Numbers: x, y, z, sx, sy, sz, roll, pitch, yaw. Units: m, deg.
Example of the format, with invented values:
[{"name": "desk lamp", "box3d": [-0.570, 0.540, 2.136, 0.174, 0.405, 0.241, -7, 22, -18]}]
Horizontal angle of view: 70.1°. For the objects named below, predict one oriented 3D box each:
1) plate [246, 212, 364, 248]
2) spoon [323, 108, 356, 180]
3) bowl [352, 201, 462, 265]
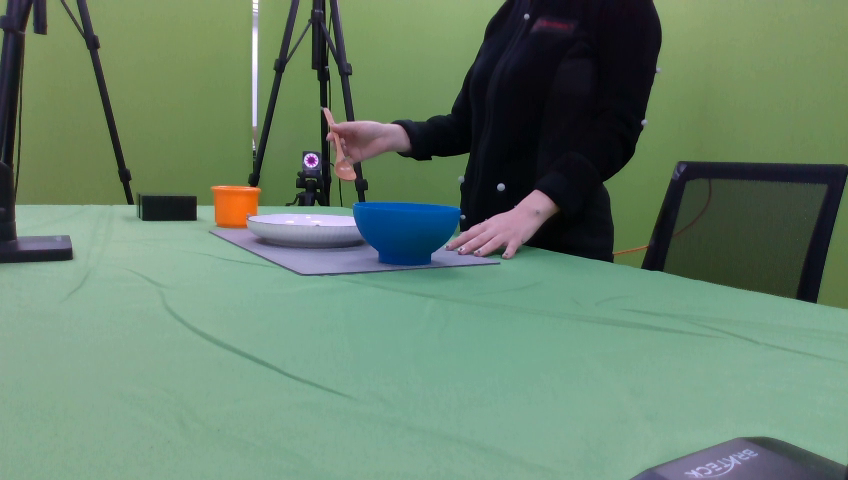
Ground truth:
[{"name": "plate", "box3d": [-0.184, -0.017, 0.995, 0.209, 0.038, 0.209, 3, 8, 0]}, {"name": "spoon", "box3d": [-0.169, -0.189, 1.179, 0.042, 0.193, 0.021, -3, -31, -28]}, {"name": "bowl", "box3d": [-0.024, -0.010, 0.831, 0.151, 0.077, 0.151, 3, 7, 0]}]
